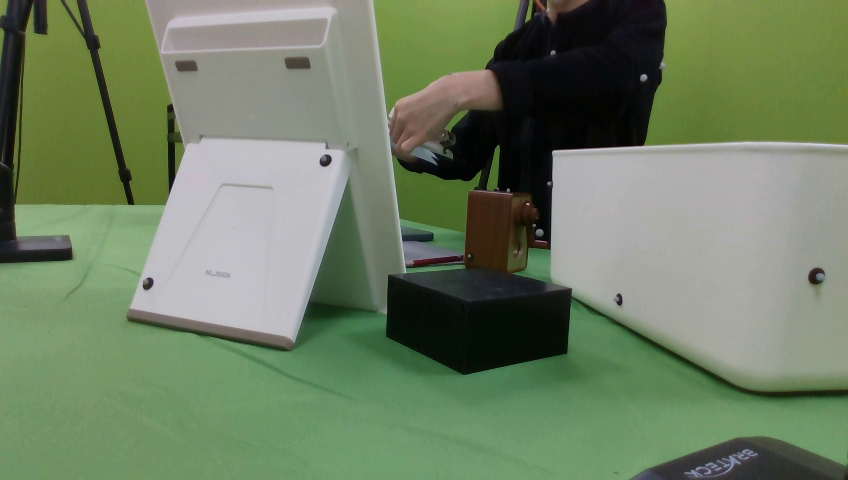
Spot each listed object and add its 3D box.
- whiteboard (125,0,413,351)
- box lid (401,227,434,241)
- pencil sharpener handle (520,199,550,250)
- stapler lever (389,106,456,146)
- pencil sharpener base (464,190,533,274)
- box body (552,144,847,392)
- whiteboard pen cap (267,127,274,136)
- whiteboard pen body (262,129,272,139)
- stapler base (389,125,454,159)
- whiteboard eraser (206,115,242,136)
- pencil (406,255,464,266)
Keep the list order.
[{"bbox_3d":[-0.151,-0.050,0.471,0.216,0.305,0.144,6,27,24],"label":"whiteboard"},{"bbox_3d":[-0.196,-0.015,1.105,0.373,0.015,0.262,-1,7,-32],"label":"box lid"},{"bbox_3d":[0.147,-0.019,0.785,0.030,0.068,0.036,8,25,36],"label":"pencil sharpener handle"},{"bbox_3d":[-0.002,-0.170,0.892,0.117,0.040,0.027,20,3,33],"label":"stapler lever"},{"bbox_3d":[0.103,-0.012,0.813,0.076,0.107,0.061,8,9,36],"label":"pencil sharpener base"},{"bbox_3d":[0.290,0.002,0.549,0.255,0.160,0.363,2,7,-10],"label":"box body"},{"bbox_3d":[-0.340,-0.239,1.337,0.018,0.018,0.033,1,-1,-14],"label":"whiteboard pen cap"},{"bbox_3d":[-0.361,-0.245,1.393,0.017,0.017,0.140,0,5,-20],"label":"whiteboard pen body"},{"bbox_3d":[-0.011,-0.153,0.893,0.130,0.024,0.041,28,7,33],"label":"stapler base"},{"bbox_3d":[-0.438,-0.249,1.320,0.056,0.042,0.112,-3,9,-30],"label":"whiteboard eraser"},{"bbox_3d":[0.041,0.027,0.850,0.195,0.012,0.012,-4,10,-45],"label":"pencil"}]
